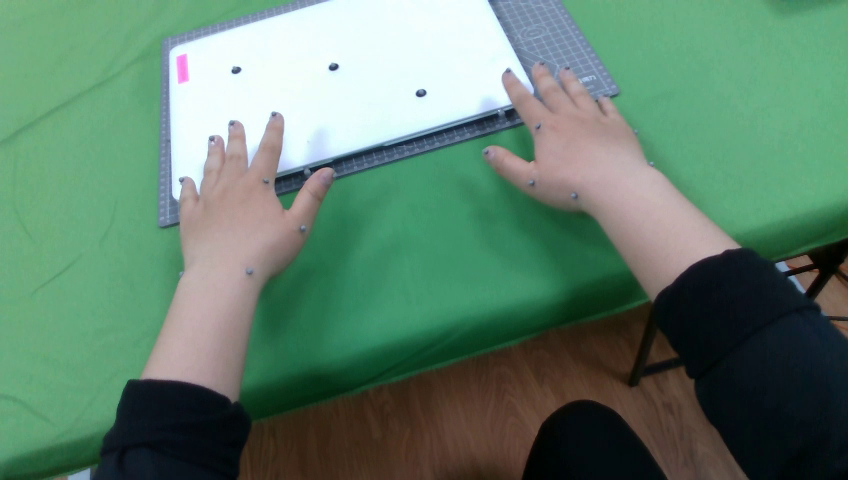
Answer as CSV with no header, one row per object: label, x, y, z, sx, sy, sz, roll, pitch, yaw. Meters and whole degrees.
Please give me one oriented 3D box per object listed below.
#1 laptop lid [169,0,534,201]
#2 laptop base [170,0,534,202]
laptop lid,-0.091,-0.176,0.622,0.357,0.013,0.239,-15,57,0
laptop base,-0.090,-0.172,0.632,0.354,0.023,0.233,-17,58,-1
